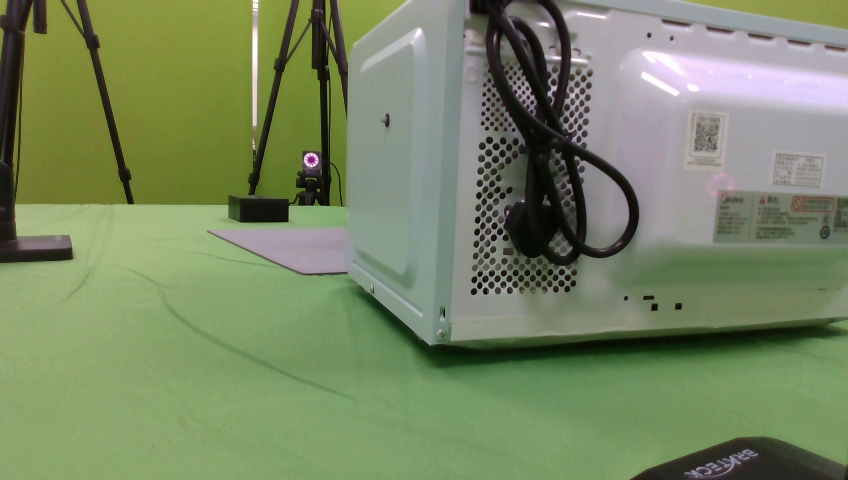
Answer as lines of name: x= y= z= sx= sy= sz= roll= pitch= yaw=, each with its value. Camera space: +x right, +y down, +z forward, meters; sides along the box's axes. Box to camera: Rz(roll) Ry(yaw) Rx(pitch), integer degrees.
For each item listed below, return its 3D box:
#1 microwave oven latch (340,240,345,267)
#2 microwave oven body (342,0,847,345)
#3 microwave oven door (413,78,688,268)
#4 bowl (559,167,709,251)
microwave oven latch: x=-0.052 y=0.016 z=0.662 sx=0.079 sy=0.029 sz=0.030 roll=1 pitch=7 yaw=-18
microwave oven body: x=0.169 y=-0.060 z=0.573 sx=0.444 sy=0.260 sz=0.324 roll=1 pitch=7 yaw=-20
microwave oven door: x=0.161 y=-0.098 z=0.831 sx=0.355 sy=0.243 sz=0.039 roll=4 pitch=8 yaw=17
bowl: x=0.215 y=-0.033 z=0.640 sx=0.151 sy=0.077 sz=0.151 roll=2 pitch=11 yaw=0
